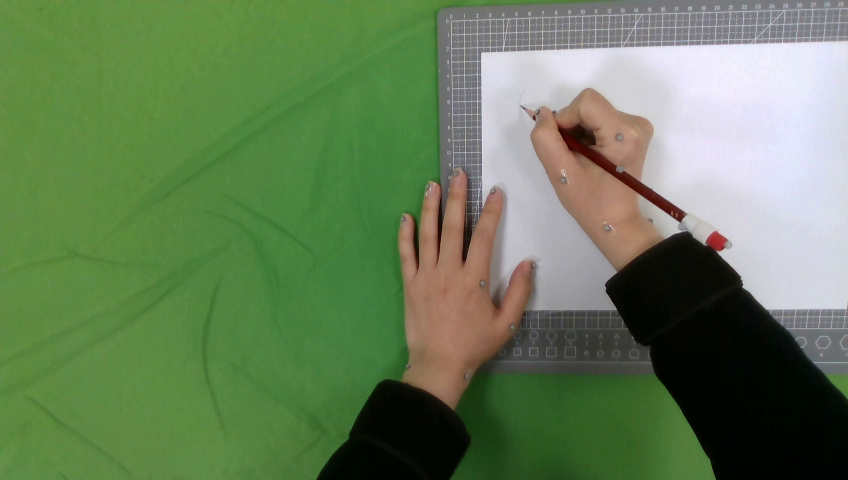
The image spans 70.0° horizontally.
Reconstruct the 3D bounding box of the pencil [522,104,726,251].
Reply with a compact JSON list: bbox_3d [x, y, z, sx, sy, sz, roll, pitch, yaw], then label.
[{"bbox_3d":[0.126,-0.052,0.417,0.012,0.192,0.012,-22,137,-22],"label":"pencil"}]
